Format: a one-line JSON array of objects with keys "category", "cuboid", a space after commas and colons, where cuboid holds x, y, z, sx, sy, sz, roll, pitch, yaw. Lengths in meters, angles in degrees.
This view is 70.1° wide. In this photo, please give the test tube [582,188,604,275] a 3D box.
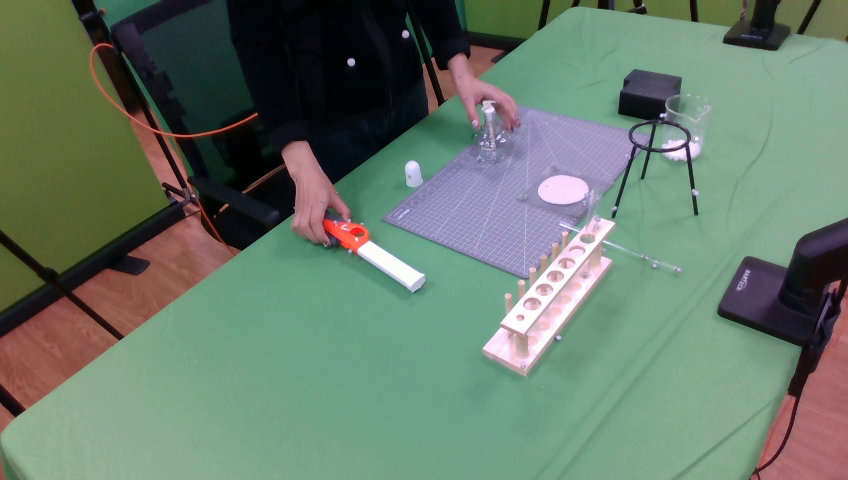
[{"category": "test tube", "cuboid": [0.229, -0.007, 0.821, 0.017, 0.151, 0.017, -3, 42, 3]}]

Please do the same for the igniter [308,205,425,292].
[{"category": "igniter", "cuboid": [-0.103, 0.007, 0.979, 0.057, 0.025, 0.274, -37, 49, -28]}]

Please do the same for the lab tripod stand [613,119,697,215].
[{"category": "lab tripod stand", "cuboid": [0.369, -0.112, 0.958, 0.148, 0.132, 0.147, -4, 40, 4]}]

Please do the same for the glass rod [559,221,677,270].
[{"category": "glass rod", "cuboid": [0.292, 0.007, 0.927, 0.198, 0.008, 0.008, 26, 52, 36]}]

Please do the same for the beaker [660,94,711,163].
[{"category": "beaker", "cuboid": [0.457, -0.192, 1.063, 0.074, 0.101, 0.083, -7, 41, 4]}]

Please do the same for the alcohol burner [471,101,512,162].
[{"category": "alcohol burner", "cuboid": [0.125, -0.207, 1.125, 0.078, 0.119, 0.077, -5, 43, 5]}]

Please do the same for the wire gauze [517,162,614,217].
[{"category": "wire gauze", "cuboid": [0.245, -0.088, 1.046, 0.120, 0.011, 0.125, 25, 50, 32]}]

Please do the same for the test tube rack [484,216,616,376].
[{"category": "test tube rack", "cuboid": [0.174, 0.064, 0.823, 0.066, 0.085, 0.243, 23, 49, 33]}]

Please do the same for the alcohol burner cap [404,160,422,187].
[{"category": "alcohol burner cap", "cuboid": [-0.022, -0.125, 1.118, 0.034, 0.048, 0.033, -5, 41, 5]}]
